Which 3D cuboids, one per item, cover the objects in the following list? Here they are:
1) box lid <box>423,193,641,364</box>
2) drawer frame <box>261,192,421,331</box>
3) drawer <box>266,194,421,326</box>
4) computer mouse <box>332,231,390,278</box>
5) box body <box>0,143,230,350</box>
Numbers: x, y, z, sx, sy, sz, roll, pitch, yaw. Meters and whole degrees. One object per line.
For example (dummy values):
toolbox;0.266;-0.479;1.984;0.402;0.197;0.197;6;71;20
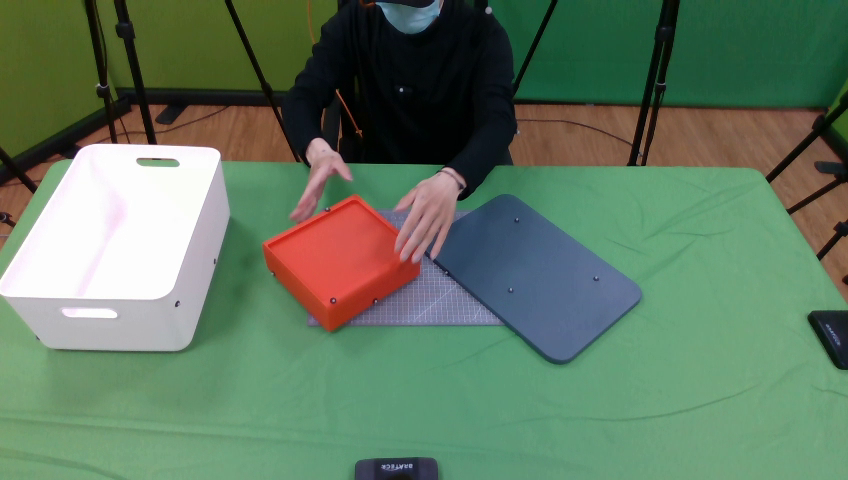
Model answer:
box lid;0.202;0.054;1.168;0.263;0.015;0.369;-31;56;-30
drawer frame;-0.148;0.032;1.110;0.213;0.083;0.200;-33;57;-29
drawer;-0.146;0.031;1.113;0.212;0.073;0.193;-33;57;-29
computer mouse;-0.121;0.022;1.143;0.063;0.041;0.116;-35;51;-27
box body;-0.502;0.007;1.055;0.254;0.161;0.361;1;46;-3
